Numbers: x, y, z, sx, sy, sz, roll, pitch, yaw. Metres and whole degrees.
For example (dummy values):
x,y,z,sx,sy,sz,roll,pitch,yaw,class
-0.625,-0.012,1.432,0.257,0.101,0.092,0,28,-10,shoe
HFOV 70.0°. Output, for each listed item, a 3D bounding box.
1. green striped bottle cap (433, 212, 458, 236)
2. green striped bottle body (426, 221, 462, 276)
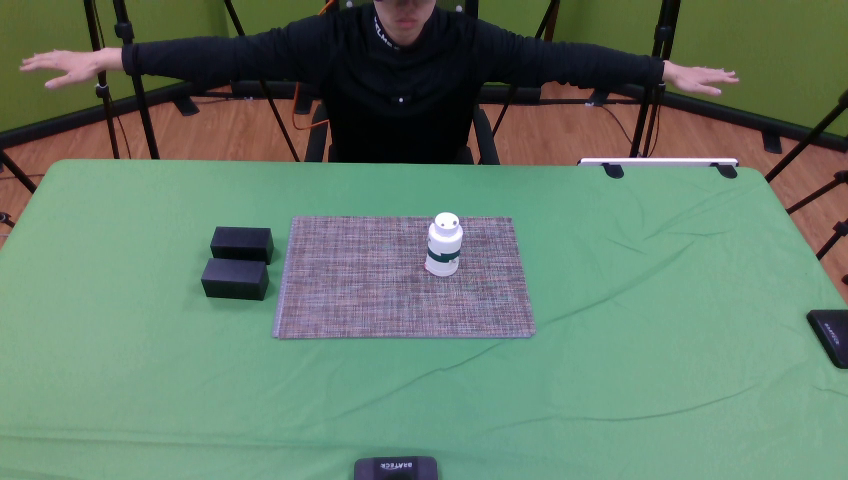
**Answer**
x,y,z,sx,sy,sz,roll,pitch,yaw,class
0.039,-0.030,1.085,0.044,0.020,0.044,3,46,-3,green striped bottle cap
0.037,0.007,1.122,0.063,0.120,0.063,2,46,-2,green striped bottle body
